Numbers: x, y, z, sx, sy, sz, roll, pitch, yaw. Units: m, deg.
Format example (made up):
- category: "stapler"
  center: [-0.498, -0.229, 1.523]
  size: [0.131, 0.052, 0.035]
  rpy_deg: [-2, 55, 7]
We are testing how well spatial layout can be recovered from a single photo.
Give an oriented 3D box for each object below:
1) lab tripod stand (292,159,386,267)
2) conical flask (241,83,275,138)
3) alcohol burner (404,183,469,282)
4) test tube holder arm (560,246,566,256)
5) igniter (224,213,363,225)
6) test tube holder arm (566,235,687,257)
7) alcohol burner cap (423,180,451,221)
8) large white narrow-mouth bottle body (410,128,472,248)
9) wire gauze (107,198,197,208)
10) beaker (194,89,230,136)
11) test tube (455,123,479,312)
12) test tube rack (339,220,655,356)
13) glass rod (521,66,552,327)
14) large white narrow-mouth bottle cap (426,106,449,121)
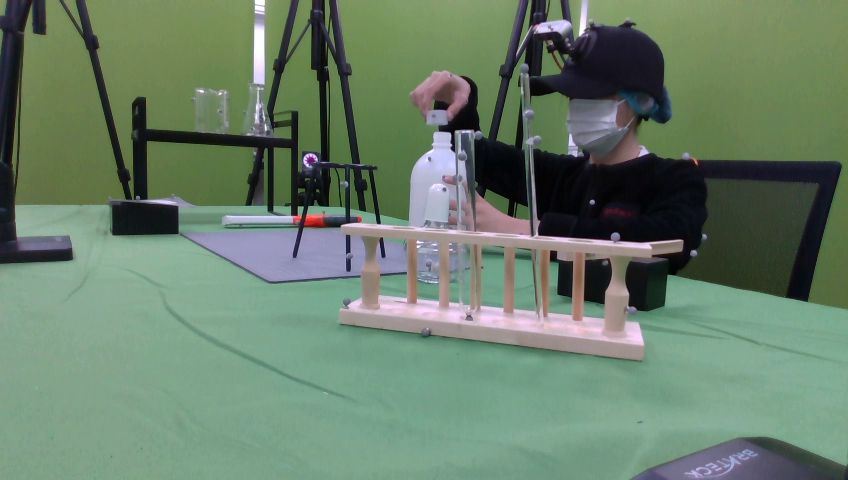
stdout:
- category: "lab tripod stand"
  center: [-0.105, -0.039, 0.798]
  size: [0.148, 0.131, 0.148]
  rpy_deg: [2, 5, 0]
- category: "conical flask"
  center: [-0.383, -0.297, 1.392]
  size: [0.075, 0.122, 0.075]
  rpy_deg: [2, 7, 0]
- category: "alcohol burner"
  center: [0.015, -0.011, 0.715]
  size: [0.078, 0.119, 0.078]
  rpy_deg: [0, 7, 0]
- category: "test tube holder arm"
  center: [0.173, 0.007, 0.611]
  size: [0.088, 0.015, 0.010]
  rpy_deg: [-3, 9, -30]
- category: "igniter"
  center: [-0.255, -0.041, 1.210]
  size: [0.278, 0.025, 0.057]
  rpy_deg: [-2, -2, -31]
- category: "test tube holder arm"
  center: [0.215, 0.006, 0.630]
  size: [0.179, 0.015, 0.013]
  rpy_deg: [-3, 9, -30]
- category: "alcohol burner cap"
  center: [0.017, -0.047, 0.711]
  size: [0.034, 0.048, 0.034]
  rpy_deg: [8, 5, 0]
- category: "large white narrow-mouth bottle body"
  center: [0.029, -0.088, 1.005]
  size: [0.102, 0.194, 0.102]
  rpy_deg: [2, 8, 0]
- category: "wire gauze"
  center: [-0.462, -0.064, 1.023]
  size: [0.126, 0.011, 0.121]
  rpy_deg: [-2, 7, -32]
- category: "beaker"
  center: [-0.472, -0.283, 1.352]
  size: [0.074, 0.100, 0.083]
  rpy_deg: [-4, 10, -35]
- category: "test tube"
  center: [0.034, -0.016, 0.476]
  size: [0.017, 0.150, 0.017]
  rpy_deg: [-2, 10, 1]
- category: "test tube rack"
  center: [0.056, 0.032, 0.495]
  size: [0.242, 0.085, 0.067]
  rpy_deg: [4, 7, 15]
- category: "glass rod"
  center: [0.085, -0.028, 0.454]
  size: [0.008, 0.199, 0.008]
  rpy_deg: [-7, 10, 2]
- category: "large white narrow-mouth bottle cap"
  center: [0.023, -0.208, 0.996]
  size: [0.038, 0.024, 0.037]
  rpy_deg: [2, 8, 0]
